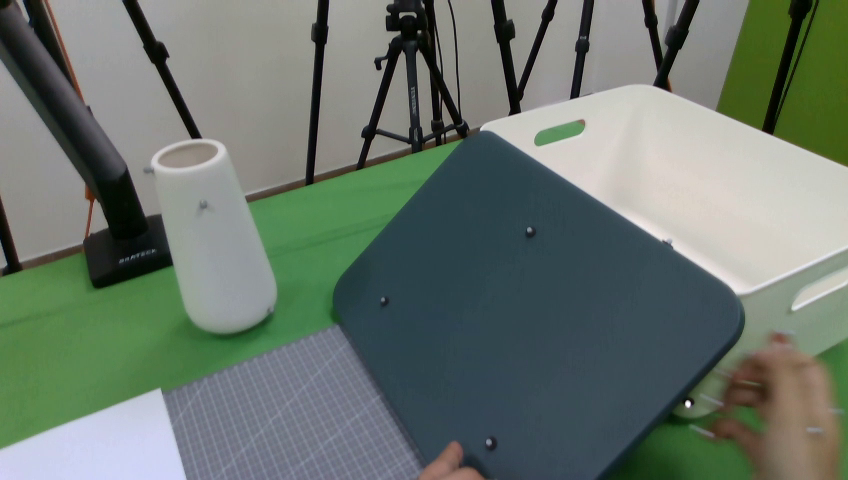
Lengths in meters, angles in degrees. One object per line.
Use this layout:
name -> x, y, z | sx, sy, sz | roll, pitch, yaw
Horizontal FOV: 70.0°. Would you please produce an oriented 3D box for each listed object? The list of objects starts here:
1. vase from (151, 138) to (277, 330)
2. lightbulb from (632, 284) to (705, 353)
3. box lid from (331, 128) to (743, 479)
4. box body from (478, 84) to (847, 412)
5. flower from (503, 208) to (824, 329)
vase -> -0.219, -0.002, 0.634 | 0.098, 0.202, 0.097 | -3, 34, 3
lightbulb -> 0.239, 0.072, 0.609 | 0.059, 0.060, 0.107 | -5, 18, -2
box lid -> 0.060, 0.054, 0.553 | 0.263, 0.015, 0.367 | -48, 42, 4
box body -> 0.250, -0.018, 0.651 | 0.255, 0.162, 0.360 | -19, 37, -20
flower -> 0.259, 0.031, 0.698 | 0.359, 0.038, 0.044 | 21, 34, 24
